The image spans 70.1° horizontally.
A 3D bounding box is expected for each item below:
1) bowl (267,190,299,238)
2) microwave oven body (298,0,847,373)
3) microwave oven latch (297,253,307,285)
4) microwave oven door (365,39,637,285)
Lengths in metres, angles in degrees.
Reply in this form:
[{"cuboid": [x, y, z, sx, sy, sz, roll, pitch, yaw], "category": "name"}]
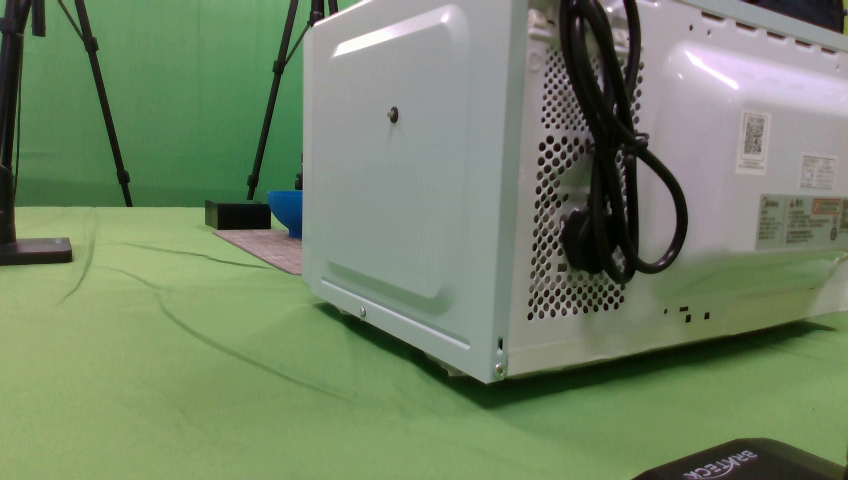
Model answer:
[{"cuboid": [-0.202, -0.046, 1.069, 0.151, 0.077, 0.151, 3, 7, 0], "category": "bowl"}, {"cuboid": [0.151, -0.055, 0.543, 0.444, 0.260, 0.324, -2, 7, -33], "category": "microwave oven body"}, {"cuboid": [-0.082, 0.027, 0.582, 0.079, 0.029, 0.030, -1, 7, -32], "category": "microwave oven latch"}, {"cuboid": [0.106, -0.081, 0.693, 0.358, 0.243, 0.039, -2, 8, -30], "category": "microwave oven door"}]
